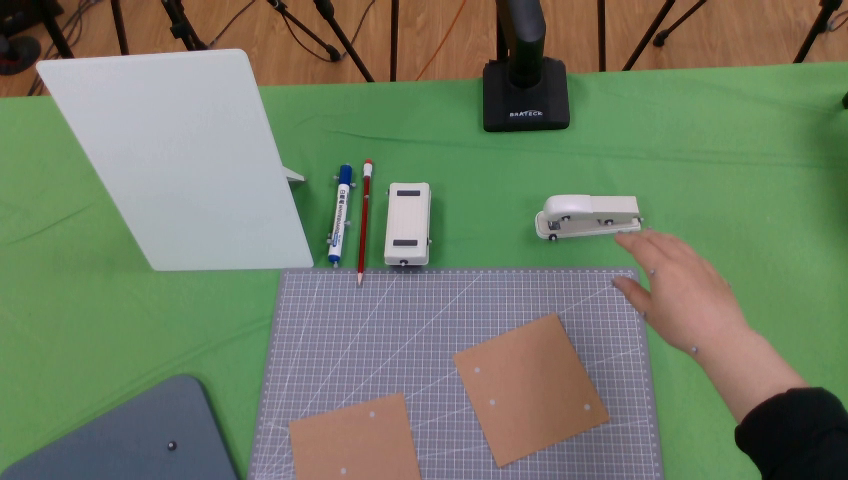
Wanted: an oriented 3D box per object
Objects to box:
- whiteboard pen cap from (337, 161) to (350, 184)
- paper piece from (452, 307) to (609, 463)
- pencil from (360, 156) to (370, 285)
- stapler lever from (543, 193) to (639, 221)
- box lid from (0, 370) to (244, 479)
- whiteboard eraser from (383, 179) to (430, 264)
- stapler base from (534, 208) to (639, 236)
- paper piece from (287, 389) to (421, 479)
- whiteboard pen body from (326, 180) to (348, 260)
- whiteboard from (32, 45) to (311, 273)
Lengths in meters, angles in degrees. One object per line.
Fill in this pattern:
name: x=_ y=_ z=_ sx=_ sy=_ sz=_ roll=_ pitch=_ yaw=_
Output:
whiteboard pen cap: x=-0.110 y=-0.091 z=0.831 sx=0.018 sy=0.018 sz=0.033 roll=-2 pitch=62 yaw=5
paper piece: x=0.117 y=0.162 z=0.688 sx=0.136 sy=0.009 sz=0.137 roll=-22 pitch=64 yaw=-2
pencil: x=-0.079 y=-0.030 z=0.803 sx=0.012 sy=0.012 sz=0.192 roll=-3 pitch=64 yaw=5
stapler lever: x=0.206 y=-0.043 z=0.747 sx=0.118 sy=0.040 sz=0.026 roll=-6 pitch=66 yaw=3
box lid: x=-0.302 y=0.345 z=0.642 sx=0.263 sy=0.015 sz=0.368 roll=-29 pitch=65 yaw=-8
whiteboard eraser: x=-0.022 y=-0.023 z=0.777 sx=0.055 sy=0.042 sz=0.112 roll=-1 pitch=64 yaw=7
stapler base: x=0.207 y=-0.032 z=0.768 sx=0.130 sy=0.024 sz=0.041 roll=-5 pitch=66 yaw=1
paper piece: x=-0.076 y=0.245 z=0.667 sx=0.135 sy=0.004 sz=0.134 roll=-13 pitch=65 yaw=-3
whiteboard pen body: x=-0.114 y=-0.038 z=0.807 sx=0.017 sy=0.017 sz=0.139 roll=0 pitch=64 yaw=6
whiteboard: x=-0.259 y=-0.116 z=0.733 sx=0.217 sy=0.308 sz=0.142 roll=-1 pitch=44 yaw=6
